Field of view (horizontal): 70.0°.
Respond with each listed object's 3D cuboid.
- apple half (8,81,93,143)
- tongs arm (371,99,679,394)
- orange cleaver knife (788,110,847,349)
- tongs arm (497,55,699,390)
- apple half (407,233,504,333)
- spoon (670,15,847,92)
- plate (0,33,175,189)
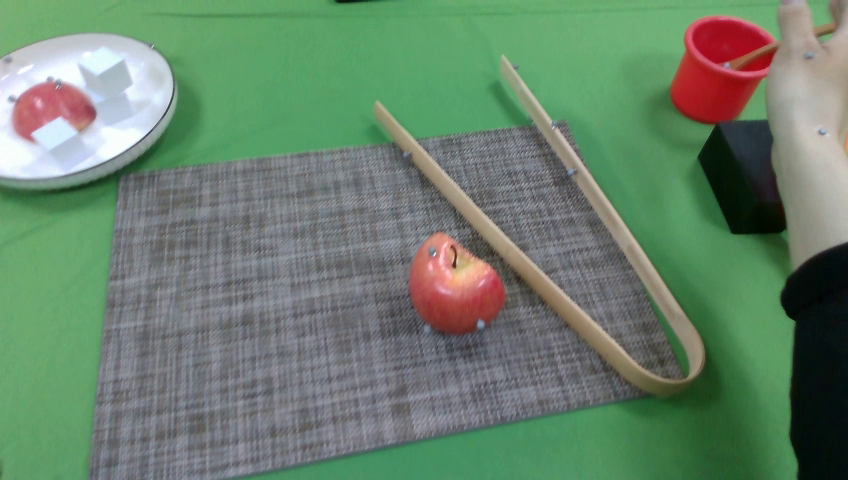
[{"bbox_3d":[-0.373,-0.133,0.599,0.081,0.033,0.080,0,53,1],"label":"apple half"},{"bbox_3d":[0.066,-0.010,0.543,0.028,0.028,0.384,-30,62,-25],"label":"tongs arm"},{"bbox_3d":[0.345,-0.014,0.525,0.012,0.077,0.211,-3,88,-5],"label":"orange cleaver knife"},{"bbox_3d":[0.139,-0.042,0.567,0.051,0.027,0.381,-19,59,-16],"label":"tongs arm"},{"bbox_3d":[0.017,0.042,0.478,0.080,0.075,0.053,38,66,18],"label":"apple half"},{"bbox_3d":[0.348,-0.192,0.615,0.022,0.193,0.041,46,48,-26],"label":"spoon"},{"bbox_3d":[-0.352,-0.127,0.602,0.209,0.038,0.207,1,55,-2],"label":"plate"}]
